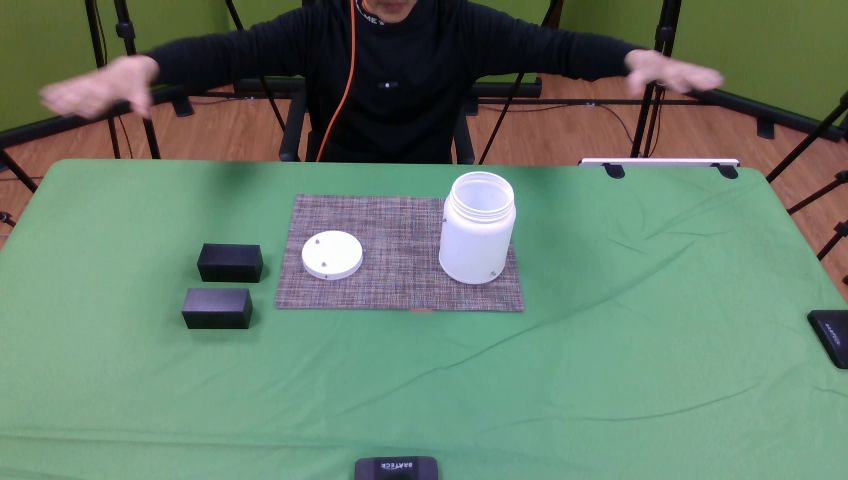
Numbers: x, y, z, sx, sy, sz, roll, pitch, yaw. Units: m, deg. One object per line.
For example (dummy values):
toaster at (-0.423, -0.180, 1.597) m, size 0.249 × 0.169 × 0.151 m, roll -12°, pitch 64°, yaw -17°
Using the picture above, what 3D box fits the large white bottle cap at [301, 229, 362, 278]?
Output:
large white bottle cap at (-0.176, 0.024, 1.157) m, size 0.115 × 0.018 × 0.114 m, roll 2°, pitch 46°, yaw -2°

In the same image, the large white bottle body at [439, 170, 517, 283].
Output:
large white bottle body at (0.097, -0.024, 1.108) m, size 0.131 × 0.185 × 0.130 m, roll 2°, pitch 47°, yaw -2°
